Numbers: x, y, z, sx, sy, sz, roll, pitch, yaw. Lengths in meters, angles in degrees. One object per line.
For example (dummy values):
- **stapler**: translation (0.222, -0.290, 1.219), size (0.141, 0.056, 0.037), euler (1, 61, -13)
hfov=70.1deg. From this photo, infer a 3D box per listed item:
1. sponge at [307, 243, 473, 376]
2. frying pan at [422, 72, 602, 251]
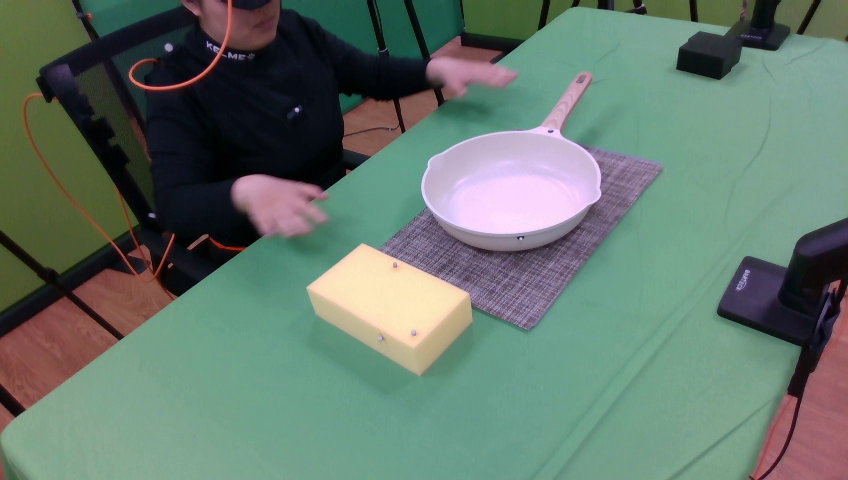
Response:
- **sponge**: translation (-0.050, 0.092, 0.858), size (0.205, 0.061, 0.118), euler (23, 50, 32)
- **frying pan**: translation (0.199, -0.155, 1.062), size (0.304, 0.103, 0.488), euler (19, 56, 28)
